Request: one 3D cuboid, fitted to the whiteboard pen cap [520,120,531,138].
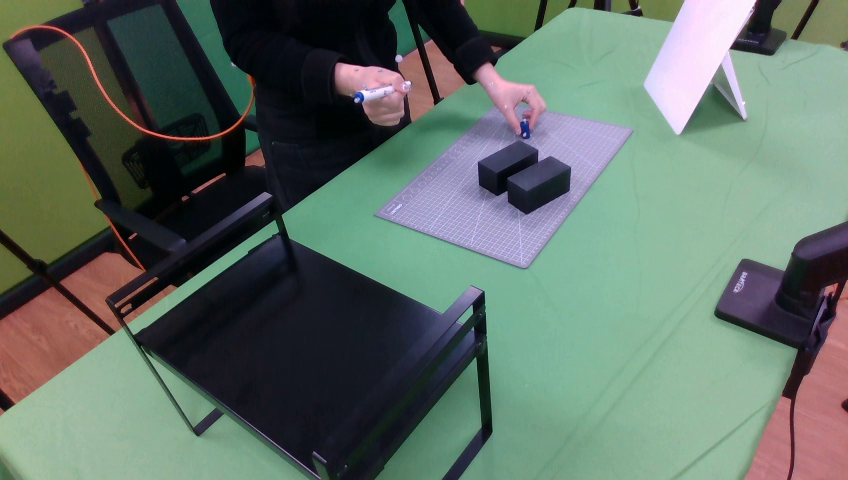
[{"bbox_3d":[0.201,-0.218,1.186,0.018,0.033,0.018,-13,33,9],"label":"whiteboard pen cap"}]

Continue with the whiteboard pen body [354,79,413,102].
[{"bbox_3d":[-0.055,-0.224,0.892,0.017,0.017,0.141,18,31,27],"label":"whiteboard pen body"}]

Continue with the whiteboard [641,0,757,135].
[{"bbox_3d":[0.575,-0.367,1.147,0.144,0.305,0.216,10,39,-9],"label":"whiteboard"}]
